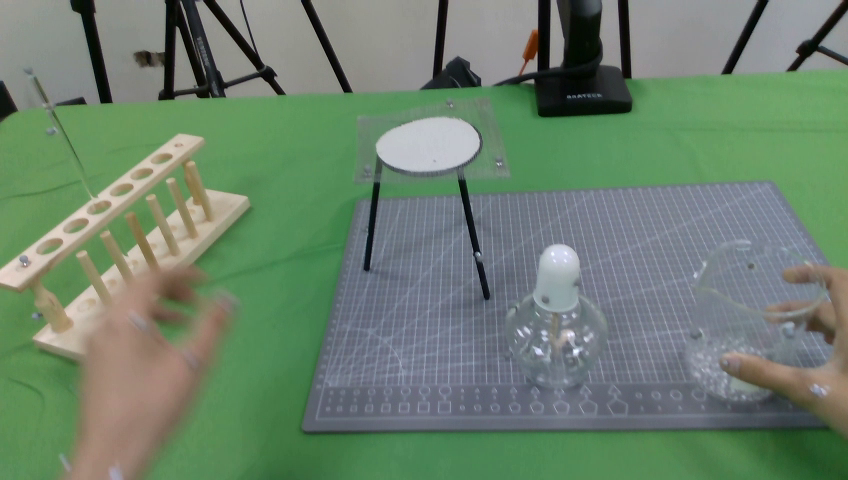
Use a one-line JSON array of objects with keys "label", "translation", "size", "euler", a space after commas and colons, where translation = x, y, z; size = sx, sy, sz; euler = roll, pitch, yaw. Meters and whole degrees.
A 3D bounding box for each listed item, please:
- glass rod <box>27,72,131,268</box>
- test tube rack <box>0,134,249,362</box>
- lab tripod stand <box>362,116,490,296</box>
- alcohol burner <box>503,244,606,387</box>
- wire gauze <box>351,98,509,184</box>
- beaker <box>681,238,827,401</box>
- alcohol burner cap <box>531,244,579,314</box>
[{"label": "glass rod", "translation": [-0.312, -0.055, 0.555], "size": [0.008, 0.201, 0.008], "euler": [-7, 33, 5]}, {"label": "test tube rack", "translation": [-0.279, -0.004, 0.594], "size": [0.066, 0.086, 0.241], "euler": [12, 42, 20]}, {"label": "lab tripod stand", "translation": [0.007, -0.032, 0.547], "size": [0.148, 0.133, 0.147], "euler": [-4, 41, 4]}, {"label": "alcohol burner", "translation": [0.097, 0.053, 0.449], "size": [0.078, 0.120, 0.077], "euler": [-4, 38, 3]}, {"label": "wire gauze", "translation": [0.001, -0.083, 0.504], "size": [0.125, 0.011, 0.120], "euler": [-6, 39, 2]}, {"label": "beaker", "translation": [0.226, 0.061, 0.434], "size": [0.084, 0.101, 0.073], "euler": [-4, 39, 4]}, {"label": "alcohol burner cap", "translation": [0.093, 0.025, 0.426], "size": [0.034, 0.048, 0.033], "euler": [-1, 38, 1]}]
